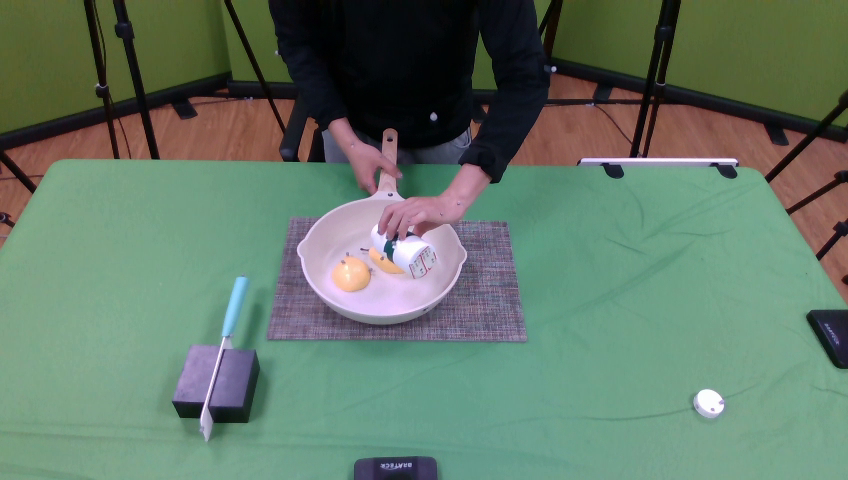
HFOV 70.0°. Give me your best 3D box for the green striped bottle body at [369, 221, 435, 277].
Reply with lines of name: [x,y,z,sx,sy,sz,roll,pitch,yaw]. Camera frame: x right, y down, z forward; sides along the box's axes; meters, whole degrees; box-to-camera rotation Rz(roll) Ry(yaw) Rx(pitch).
green striped bottle body: [-0.043,0.010,1.029,0.063,0.063,0.118,-31,44,-30]

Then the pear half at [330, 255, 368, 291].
pear half: [-0.139,0.053,1.121,0.070,0.031,0.087,-7,51,-17]

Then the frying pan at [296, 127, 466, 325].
frying pan: [-0.076,-0.045,1.172,0.307,0.103,0.485,3,55,-2]

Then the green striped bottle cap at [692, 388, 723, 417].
green striped bottle cap: [0.460,0.263,0.984,0.044,0.020,0.044,3,47,-3]

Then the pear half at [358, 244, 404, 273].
pear half: [-0.074,0.017,1.146,0.110,0.056,0.076,9,41,7]

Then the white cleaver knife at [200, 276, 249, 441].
white cleaver knife: [-0.321,0.177,0.972,0.021,0.066,0.284,7,48,-5]
